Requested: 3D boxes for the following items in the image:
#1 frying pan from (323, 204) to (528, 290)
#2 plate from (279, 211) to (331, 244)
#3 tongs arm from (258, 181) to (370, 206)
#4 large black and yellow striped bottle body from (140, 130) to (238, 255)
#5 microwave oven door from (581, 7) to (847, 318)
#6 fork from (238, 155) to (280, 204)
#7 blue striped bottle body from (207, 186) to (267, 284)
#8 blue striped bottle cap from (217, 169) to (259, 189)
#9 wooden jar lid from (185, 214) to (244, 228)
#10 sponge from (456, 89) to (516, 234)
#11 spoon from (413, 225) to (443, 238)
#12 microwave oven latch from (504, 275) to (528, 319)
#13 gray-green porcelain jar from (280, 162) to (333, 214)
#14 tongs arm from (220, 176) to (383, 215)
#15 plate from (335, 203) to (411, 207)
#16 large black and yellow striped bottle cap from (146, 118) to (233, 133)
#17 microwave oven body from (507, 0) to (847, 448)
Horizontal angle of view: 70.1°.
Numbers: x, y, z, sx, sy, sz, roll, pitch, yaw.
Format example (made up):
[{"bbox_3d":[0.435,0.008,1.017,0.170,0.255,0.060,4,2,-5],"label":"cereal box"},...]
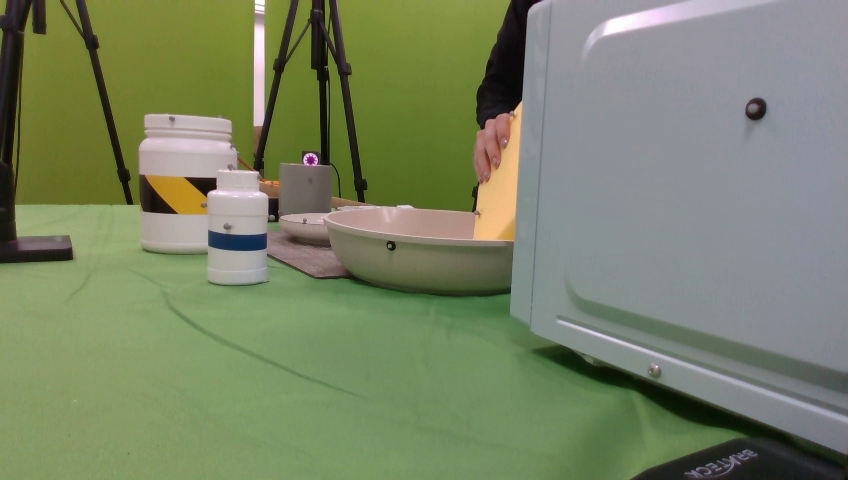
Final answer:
[{"bbox_3d":[0.109,-0.017,0.800,0.490,0.102,0.305,-12,16,-30],"label":"frying pan"},{"bbox_3d":[-0.139,-0.022,1.021,0.209,0.038,0.209,2,8,0],"label":"plate"},{"bbox_3d":[-0.241,-0.095,1.373,0.387,0.026,0.050,9,0,-37],"label":"tongs arm"},{"bbox_3d":[-0.336,-0.078,0.871,0.131,0.184,0.130,2,8,0],"label":"large black and yellow striped bottle body"},{"bbox_3d":[0.295,-0.067,0.569,0.358,0.243,0.039,-3,8,-31],"label":"microwave oven door"},{"bbox_3d":[-0.396,-0.143,1.486,0.028,0.018,0.208,19,-26,44],"label":"fork"},{"bbox_3d":[-0.204,-0.016,0.663,0.063,0.120,0.063,2,7,0],"label":"blue striped bottle body"},{"bbox_3d":[-0.202,-0.067,0.656,0.044,0.020,0.044,0,10,0],"label":"blue striped bottle cap"},{"bbox_3d":[-0.404,-0.037,1.169,0.108,0.020,0.108,3,7,0],"label":"wooden jar lid"},{"bbox_3d":[0.107,-0.074,0.766,0.061,0.206,0.118,21,-37,-35],"label":"sponge"},{"bbox_3d":[0.016,-0.020,1.113,0.041,0.021,0.194,-14,3,12],"label":"spoon"},{"bbox_3d":[0.100,0.042,0.471,0.079,0.029,0.030,-1,7,-28],"label":"microwave oven latch"},{"bbox_3d":[-0.238,-0.092,1.221,0.106,0.126,0.106,2,7,0],"label":"gray-green porcelain jar"},{"bbox_3d":[-0.285,-0.103,1.445,0.389,0.027,0.028,9,-4,-23],"label":"tongs arm"},{"bbox_3d":[-0.089,-0.053,1.309,0.208,0.039,0.207,2,8,0],"label":"plate"},{"bbox_3d":[-0.333,-0.163,0.860,0.115,0.019,0.115,1,9,0],"label":"large black and yellow striped bottle cap"},{"bbox_3d":[0.331,-0.042,0.425,0.444,0.260,0.324,-2,8,-31],"label":"microwave oven body"}]
